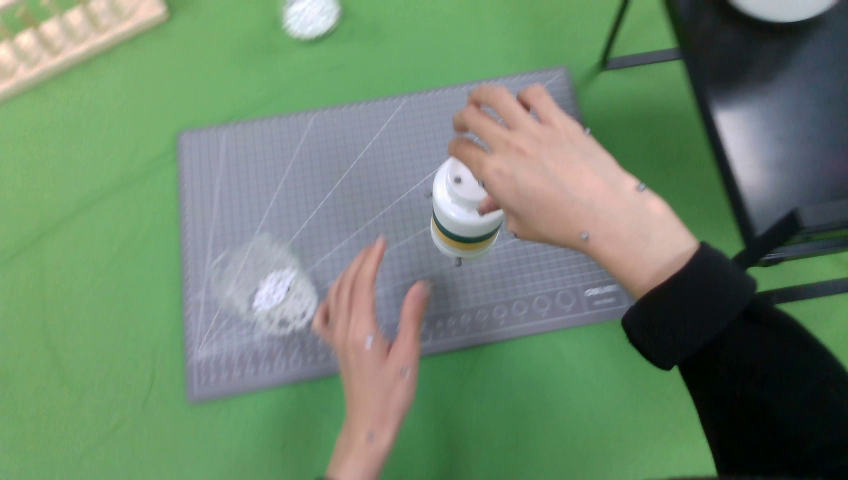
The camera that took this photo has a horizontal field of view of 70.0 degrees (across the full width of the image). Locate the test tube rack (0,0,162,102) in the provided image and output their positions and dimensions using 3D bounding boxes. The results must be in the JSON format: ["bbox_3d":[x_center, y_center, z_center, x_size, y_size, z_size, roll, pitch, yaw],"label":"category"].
[{"bbox_3d":[-0.443,-0.247,0.697,0.242,0.086,0.066,-31,71,-9],"label":"test tube rack"}]

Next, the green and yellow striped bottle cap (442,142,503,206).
[{"bbox_3d":[0.036,-0.049,0.447,0.045,0.020,0.045,1,74,-2],"label":"green and yellow striped bottle cap"}]

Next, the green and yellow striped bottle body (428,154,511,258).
[{"bbox_3d":[0.035,-0.032,0.496,0.063,0.120,0.063,0,71,-1],"label":"green and yellow striped bottle body"}]

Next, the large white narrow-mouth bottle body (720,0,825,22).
[{"bbox_3d":[0.284,-0.256,0.429,0.102,0.196,0.101,-1,69,4],"label":"large white narrow-mouth bottle body"}]

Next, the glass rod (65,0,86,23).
[{"bbox_3d":[-0.423,-0.312,0.650,0.008,0.201,0.008,-2,62,4],"label":"glass rod"}]

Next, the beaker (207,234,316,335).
[{"bbox_3d":[-0.148,0.046,0.571,0.084,0.101,0.073,9,69,6],"label":"beaker"}]

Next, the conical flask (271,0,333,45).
[{"bbox_3d":[-0.150,-0.287,0.684,0.075,0.122,0.075,-1,69,2],"label":"conical flask"}]
